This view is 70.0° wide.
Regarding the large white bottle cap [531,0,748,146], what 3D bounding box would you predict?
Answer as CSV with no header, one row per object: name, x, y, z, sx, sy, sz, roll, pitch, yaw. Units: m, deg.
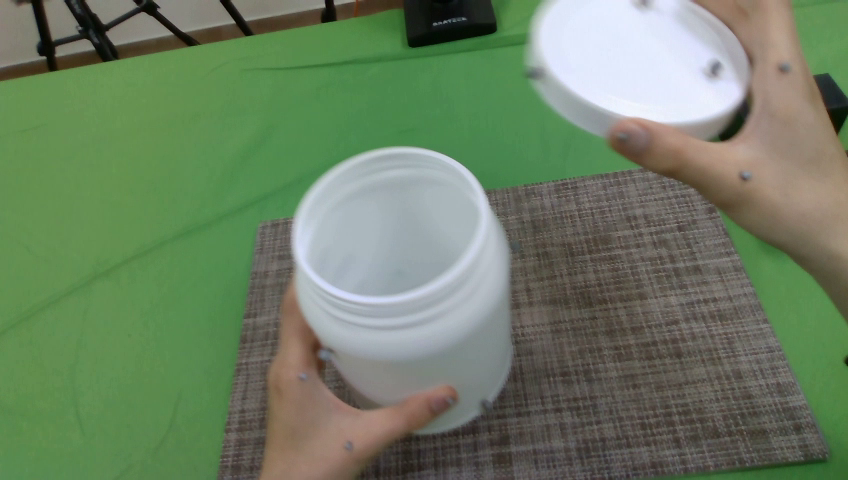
large white bottle cap,0.117,-0.099,0.332,0.115,0.018,0.113,2,56,-3

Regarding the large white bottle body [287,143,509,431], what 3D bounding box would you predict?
large white bottle body,-0.010,0.037,0.402,0.130,0.186,0.129,-4,55,6
